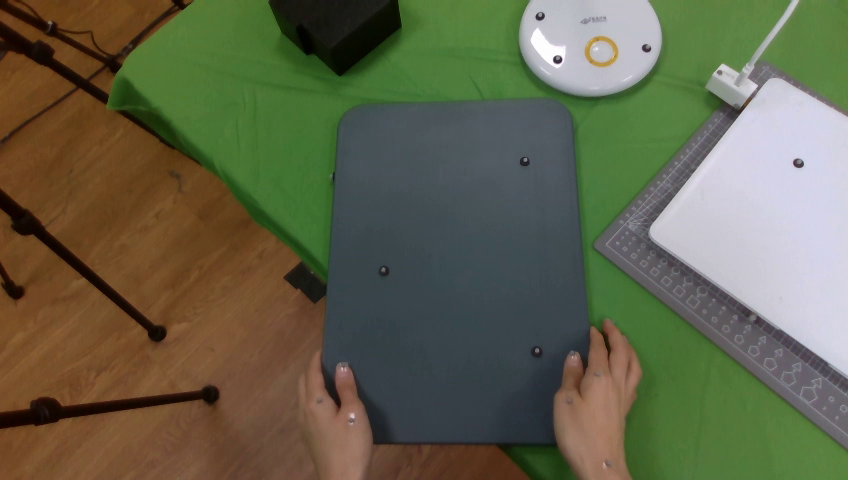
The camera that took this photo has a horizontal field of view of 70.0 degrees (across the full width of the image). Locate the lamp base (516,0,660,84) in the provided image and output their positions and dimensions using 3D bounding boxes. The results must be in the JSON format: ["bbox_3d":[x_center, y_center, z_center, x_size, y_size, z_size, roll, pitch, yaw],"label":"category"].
[{"bbox_3d":[0.175,-0.283,0.619,0.161,0.181,0.177,-19,68,-3],"label":"lamp base"}]

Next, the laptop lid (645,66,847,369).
[{"bbox_3d":[0.424,0.002,0.578,0.354,0.013,0.241,40,81,15],"label":"laptop lid"}]

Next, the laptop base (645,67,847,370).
[{"bbox_3d":[0.426,0.004,0.590,0.352,0.023,0.235,38,81,15],"label":"laptop base"}]

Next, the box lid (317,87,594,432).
[{"bbox_3d":[0.030,0.004,0.622,0.263,0.015,0.369,-1,71,3],"label":"box lid"}]

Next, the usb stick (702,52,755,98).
[{"bbox_3d":[0.329,-0.171,0.642,0.059,0.027,0.021,42,74,12],"label":"usb stick"}]
